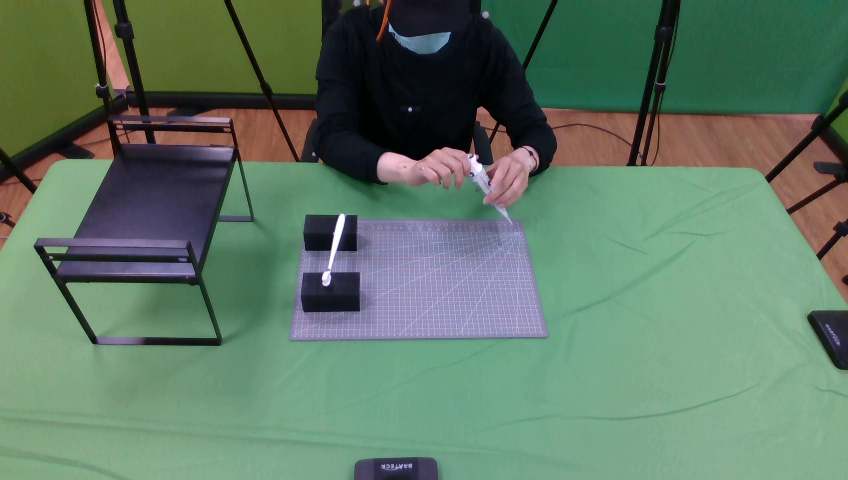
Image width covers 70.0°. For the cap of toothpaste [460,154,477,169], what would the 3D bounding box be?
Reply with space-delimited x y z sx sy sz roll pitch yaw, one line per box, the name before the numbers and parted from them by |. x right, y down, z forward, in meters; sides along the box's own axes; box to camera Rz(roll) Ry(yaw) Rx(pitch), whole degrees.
cap of toothpaste | 0.085 -0.146 1.128 0.037 0.011 0.037 -26 34 20

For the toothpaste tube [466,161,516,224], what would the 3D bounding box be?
toothpaste tube | 0.128 -0.094 1.170 0.034 0.166 0.054 -39 34 2

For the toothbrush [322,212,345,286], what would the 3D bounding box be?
toothbrush | -0.164 0.011 1.101 0.014 0.017 0.181 -6 44 12
